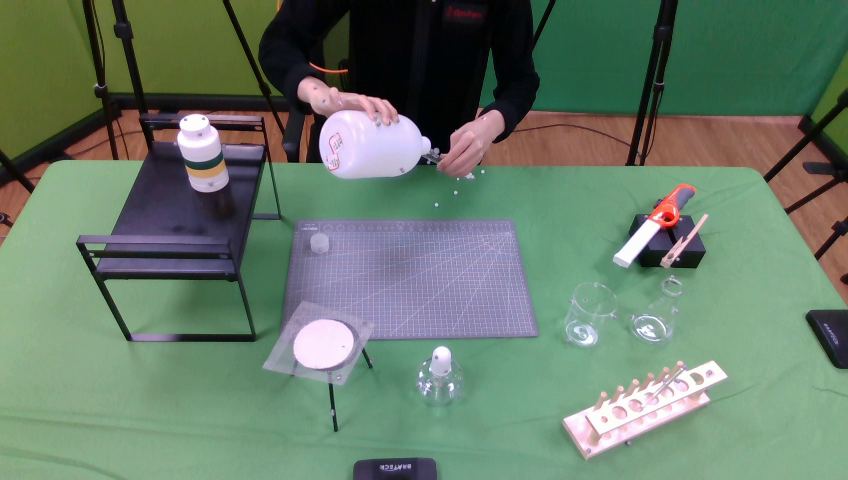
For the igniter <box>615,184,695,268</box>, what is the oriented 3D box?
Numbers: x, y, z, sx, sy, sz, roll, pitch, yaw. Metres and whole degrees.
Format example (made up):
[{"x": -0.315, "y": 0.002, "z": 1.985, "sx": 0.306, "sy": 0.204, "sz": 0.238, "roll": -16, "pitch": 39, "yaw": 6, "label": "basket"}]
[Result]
[{"x": 0.460, "y": -0.035, "z": 1.196, "sx": 0.057, "sy": 0.025, "sz": 0.276, "roll": 33, "pitch": 55, "yaw": 27, "label": "igniter"}]

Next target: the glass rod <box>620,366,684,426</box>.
[{"x": 0.323, "y": 0.227, "z": 0.866, "sx": 0.008, "sy": 0.200, "sz": 0.008, "roll": 5, "pitch": 51, "yaw": -6, "label": "glass rod"}]

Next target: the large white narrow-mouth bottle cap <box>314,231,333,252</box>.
[{"x": -0.195, "y": 0.003, "z": 1.178, "sx": 0.038, "sy": 0.024, "sz": 0.037, "roll": 2, "pitch": 45, "yaw": -2, "label": "large white narrow-mouth bottle cap"}]

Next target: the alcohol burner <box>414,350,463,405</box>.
[{"x": 0.023, "y": 0.205, "z": 0.939, "sx": 0.078, "sy": 0.120, "sz": 0.077, "roll": 1, "pitch": 48, "yaw": -1, "label": "alcohol burner"}]

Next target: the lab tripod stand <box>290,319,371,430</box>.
[{"x": -0.146, "y": 0.193, "z": 0.923, "sx": 0.148, "sy": 0.132, "sz": 0.147, "roll": 1, "pitch": 47, "yaw": -1, "label": "lab tripod stand"}]

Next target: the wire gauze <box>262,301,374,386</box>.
[{"x": -0.150, "y": 0.148, "z": 0.873, "sx": 0.121, "sy": 0.011, "sz": 0.124, "roll": 14, "pitch": 46, "yaw": 12, "label": "wire gauze"}]

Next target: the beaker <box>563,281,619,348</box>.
[{"x": 0.283, "y": 0.129, "z": 1.041, "sx": 0.074, "sy": 0.101, "sz": 0.083, "roll": 11, "pitch": 46, "yaw": 6, "label": "beaker"}]

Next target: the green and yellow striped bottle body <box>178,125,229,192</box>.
[{"x": -0.361, "y": -0.142, "z": 0.989, "sx": 0.063, "sy": 0.120, "sz": 0.063, "roll": 2, "pitch": 46, "yaw": -2, "label": "green and yellow striped bottle body"}]

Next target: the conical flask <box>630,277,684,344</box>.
[{"x": 0.408, "y": 0.117, "z": 1.045, "sx": 0.075, "sy": 0.122, "sz": 0.075, "roll": 2, "pitch": 46, "yaw": -2, "label": "conical flask"}]

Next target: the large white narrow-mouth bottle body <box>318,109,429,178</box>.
[{"x": -0.066, "y": -0.152, "z": 0.963, "sx": 0.195, "sy": 0.102, "sz": 0.101, "roll": -9, "pitch": 42, "yaw": -47, "label": "large white narrow-mouth bottle body"}]

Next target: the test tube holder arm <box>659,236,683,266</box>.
[{"x": 0.472, "y": 0.020, "z": 1.149, "sx": 0.010, "sy": 0.015, "sz": 0.088, "roll": 35, "pitch": 54, "yaw": 27, "label": "test tube holder arm"}]

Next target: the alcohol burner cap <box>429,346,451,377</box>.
[{"x": 0.026, "y": 0.180, "z": 0.912, "sx": 0.034, "sy": 0.048, "sz": 0.033, "roll": 1, "pitch": 47, "yaw": -1, "label": "alcohol burner cap"}]

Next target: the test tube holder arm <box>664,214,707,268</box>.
[{"x": 0.507, "y": -0.001, "z": 1.171, "sx": 0.013, "sy": 0.015, "sz": 0.178, "roll": 34, "pitch": 54, "yaw": 26, "label": "test tube holder arm"}]

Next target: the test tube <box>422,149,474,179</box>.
[{"x": 0.045, "y": -0.136, "z": 1.092, "sx": 0.151, "sy": 0.017, "sz": 0.017, "roll": 18, "pitch": 27, "yaw": -49, "label": "test tube"}]

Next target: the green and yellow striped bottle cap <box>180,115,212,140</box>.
[{"x": -0.358, "y": -0.177, "z": 0.951, "sx": 0.045, "sy": 0.020, "sz": 0.045, "roll": 2, "pitch": 45, "yaw": -2, "label": "green and yellow striped bottle cap"}]

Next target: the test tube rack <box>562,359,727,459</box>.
[{"x": 0.341, "y": 0.247, "z": 0.940, "sx": 0.243, "sy": 0.085, "sz": 0.066, "roll": -16, "pitch": 49, "yaw": -18, "label": "test tube rack"}]
